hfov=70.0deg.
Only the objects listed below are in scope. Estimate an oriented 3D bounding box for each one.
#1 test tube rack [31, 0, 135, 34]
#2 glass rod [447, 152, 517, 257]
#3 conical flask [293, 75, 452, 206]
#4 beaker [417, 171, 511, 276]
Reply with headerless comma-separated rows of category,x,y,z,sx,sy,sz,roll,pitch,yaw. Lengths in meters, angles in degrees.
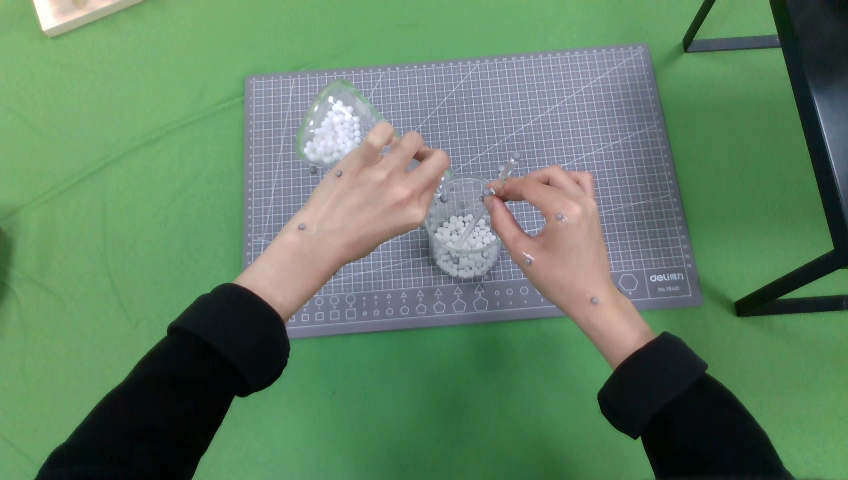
test tube rack,-0.345,-0.330,0.686,0.242,0.085,0.066,-25,73,-6
glass rod,0.044,-0.023,0.512,0.008,0.200,0.008,4,68,-10
conical flask,-0.038,-0.074,0.496,0.122,0.075,0.075,30,75,-2
beaker,0.035,-0.011,0.566,0.084,0.101,0.073,18,74,9
